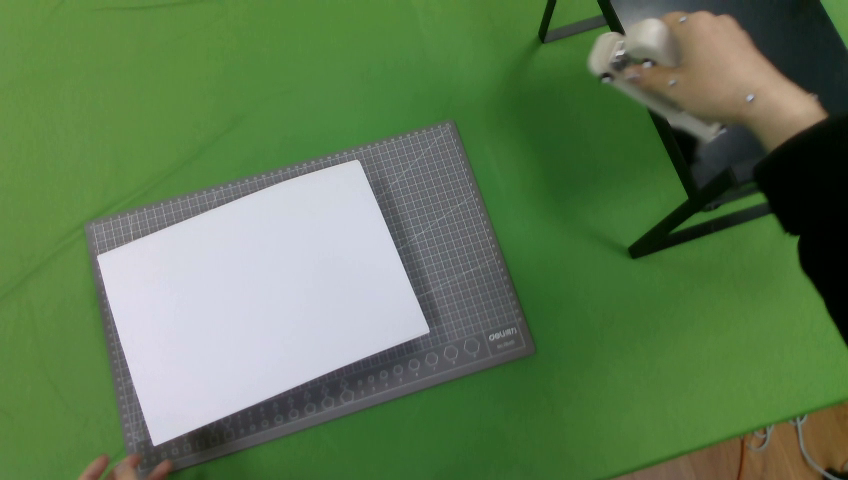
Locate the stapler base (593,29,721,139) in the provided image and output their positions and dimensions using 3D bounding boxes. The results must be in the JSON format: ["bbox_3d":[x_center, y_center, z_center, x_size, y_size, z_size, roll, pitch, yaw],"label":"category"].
[{"bbox_3d":[0.205,-0.133,0.507,0.131,0.024,0.041,27,89,-13],"label":"stapler base"}]

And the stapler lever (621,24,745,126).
[{"bbox_3d":[0.211,-0.132,0.484,0.118,0.040,0.027,27,89,-12],"label":"stapler lever"}]
